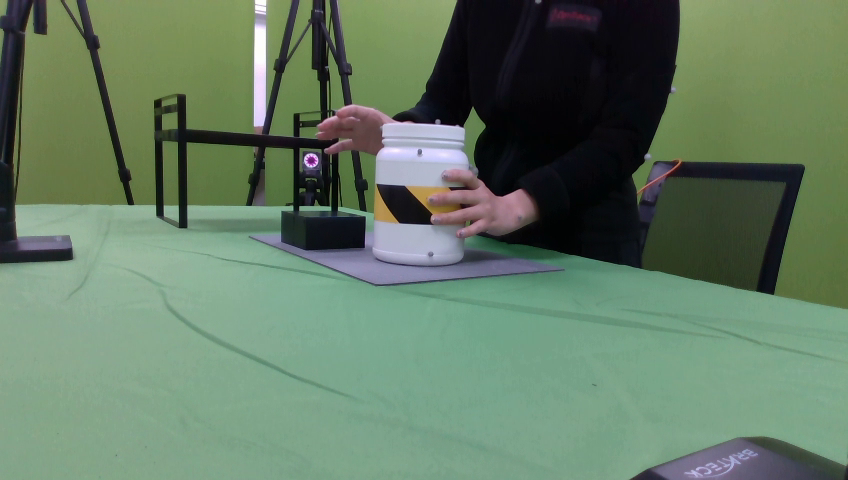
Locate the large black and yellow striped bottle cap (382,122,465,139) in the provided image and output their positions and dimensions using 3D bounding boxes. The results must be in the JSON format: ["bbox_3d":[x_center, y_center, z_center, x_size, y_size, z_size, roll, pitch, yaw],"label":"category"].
[{"bbox_3d":[-0.001,-0.149,0.830,0.115,0.019,0.115,1,6,0],"label":"large black and yellow striped bottle cap"}]

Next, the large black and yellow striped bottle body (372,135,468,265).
[{"bbox_3d":[-0.005,-0.064,0.842,0.131,0.184,0.130,2,7,0],"label":"large black and yellow striped bottle body"}]
